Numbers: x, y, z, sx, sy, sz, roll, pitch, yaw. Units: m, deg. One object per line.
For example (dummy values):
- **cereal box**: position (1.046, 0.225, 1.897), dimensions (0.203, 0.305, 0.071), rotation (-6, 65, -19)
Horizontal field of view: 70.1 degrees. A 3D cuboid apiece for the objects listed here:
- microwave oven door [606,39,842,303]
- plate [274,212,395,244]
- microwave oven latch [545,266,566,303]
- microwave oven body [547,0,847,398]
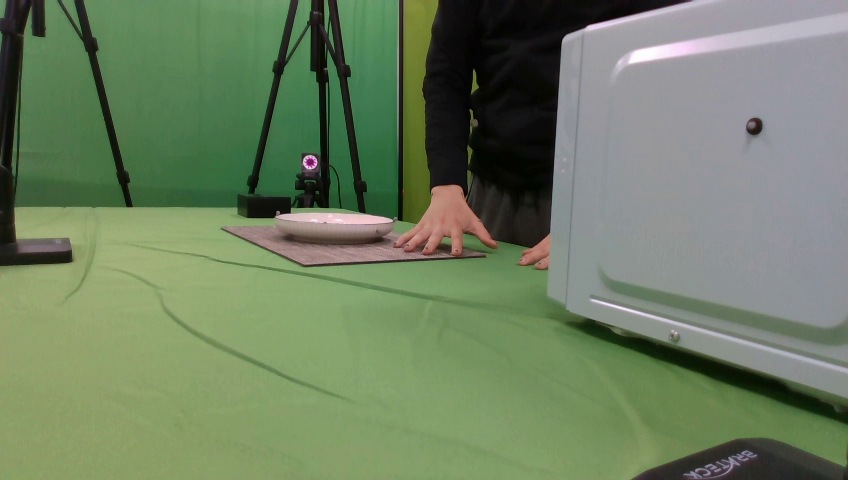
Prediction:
- **microwave oven door**: position (0.341, -0.070, 0.654), dimensions (0.358, 0.243, 0.039), rotation (-3, 9, -31)
- **plate**: position (-0.157, -0.022, 1.066), dimensions (0.209, 0.038, 0.209), rotation (2, 8, 0)
- **microwave oven latch**: position (0.147, 0.038, 0.555), dimensions (0.079, 0.029, 0.030), rotation (-2, 7, -29)
- **microwave oven body**: position (0.378, -0.045, 0.509), dimensions (0.444, 0.260, 0.324), rotation (-2, 8, -31)
